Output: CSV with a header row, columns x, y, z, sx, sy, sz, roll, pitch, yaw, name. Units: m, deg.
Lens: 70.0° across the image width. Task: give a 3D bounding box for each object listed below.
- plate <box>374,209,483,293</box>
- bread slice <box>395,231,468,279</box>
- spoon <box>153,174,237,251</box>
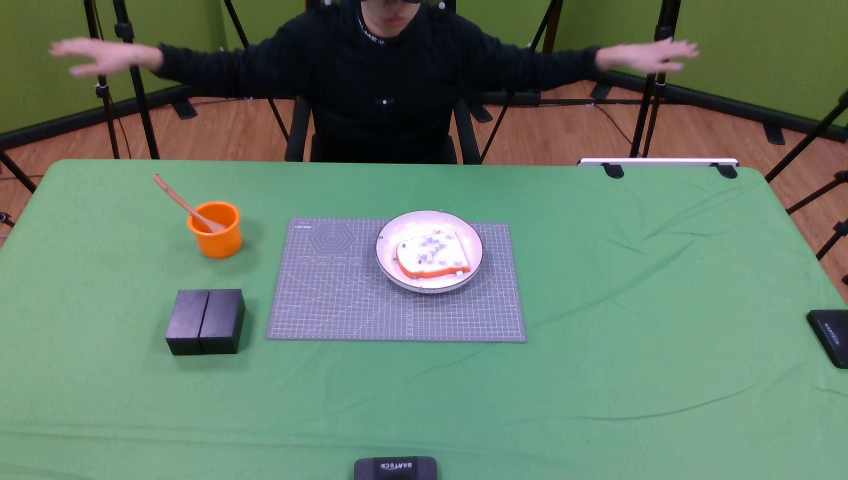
x,y,z,sx,sy,sz,roll,pitch,yaw,name
0.009,0.024,1.160,0.209,0.038,0.208,2,46,-2,plate
0.011,0.030,1.159,0.132,0.019,0.104,-8,47,-14,bread slice
-0.422,-0.050,1.118,0.194,0.021,0.041,43,43,-20,spoon
